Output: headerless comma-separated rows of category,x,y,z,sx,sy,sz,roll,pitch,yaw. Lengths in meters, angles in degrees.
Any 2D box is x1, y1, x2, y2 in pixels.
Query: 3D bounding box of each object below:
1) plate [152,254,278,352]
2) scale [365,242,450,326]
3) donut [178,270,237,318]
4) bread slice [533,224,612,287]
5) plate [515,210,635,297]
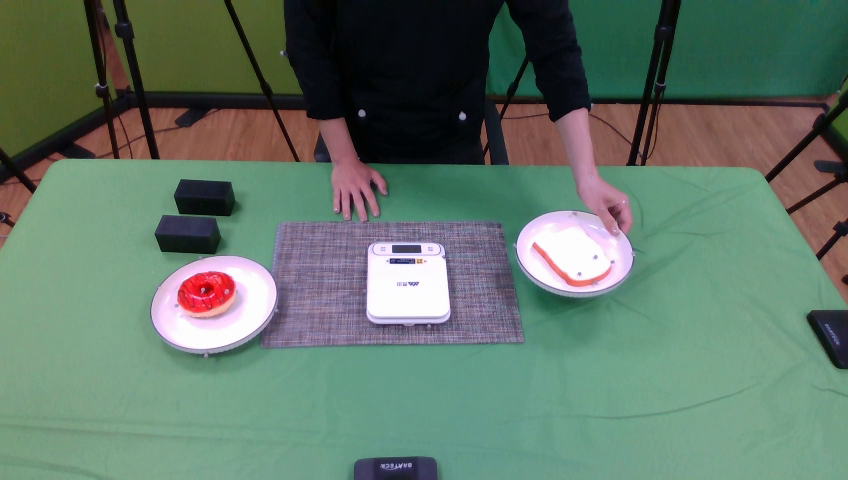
plate,-0.357,0.111,1.052,0.208,0.039,0.206,2,46,-2
scale,-0.032,0.071,1.113,0.149,0.032,0.199,1,46,-4
donut,-0.375,0.092,1.053,0.099,0.048,0.098,1,42,0
bread slice,0.277,0.028,1.098,0.105,0.019,0.130,-21,48,-15
plate,0.271,0.027,1.096,0.209,0.038,0.208,-2,45,2
